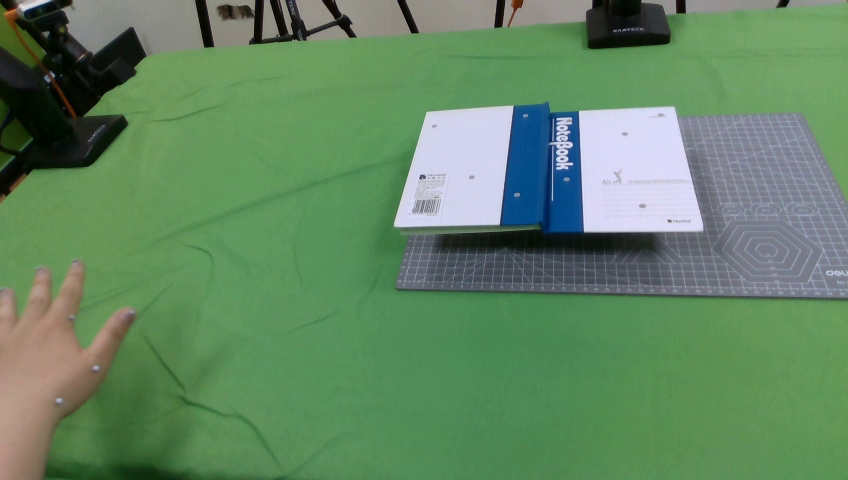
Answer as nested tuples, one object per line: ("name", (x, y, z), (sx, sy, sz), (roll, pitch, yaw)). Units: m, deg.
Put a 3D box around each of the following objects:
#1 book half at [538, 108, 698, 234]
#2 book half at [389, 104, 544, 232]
("book half", (0.194, -0.078, 0.632), (0.143, 0.007, 0.208), (0, 43, 12))
("book half", (0.053, -0.082, 0.656), (0.148, 0.016, 0.208), (-1, 44, 13))
